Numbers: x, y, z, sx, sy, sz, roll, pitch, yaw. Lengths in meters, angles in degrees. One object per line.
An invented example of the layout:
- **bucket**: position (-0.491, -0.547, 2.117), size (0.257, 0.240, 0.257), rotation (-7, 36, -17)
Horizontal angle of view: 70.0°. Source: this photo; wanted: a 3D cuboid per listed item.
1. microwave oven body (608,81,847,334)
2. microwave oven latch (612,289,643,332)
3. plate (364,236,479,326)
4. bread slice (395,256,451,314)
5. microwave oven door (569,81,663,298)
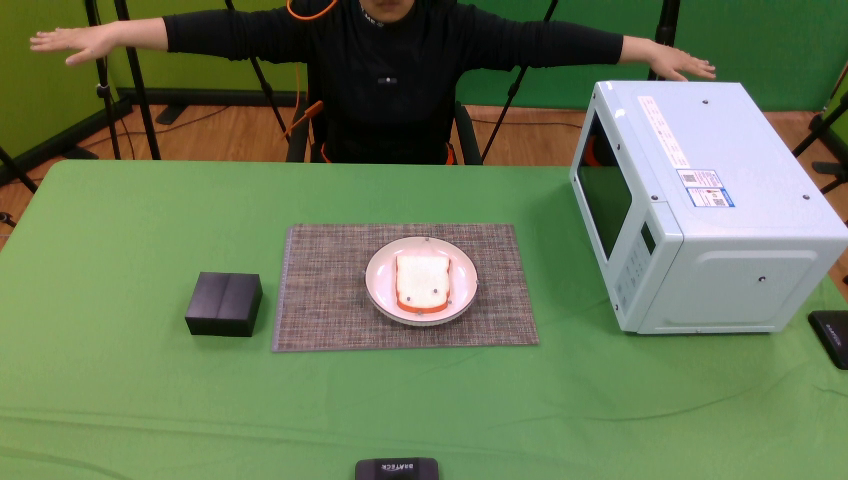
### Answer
- **microwave oven body**: position (0.501, -0.070, 1.132), size (0.326, 0.261, 0.438), rotation (-1, 45, -4)
- **microwave oven latch**: position (0.357, 0.124, 1.068), size (0.030, 0.029, 0.078), rotation (0, 45, -3)
- **plate**: position (-0.004, 0.078, 1.107), size (0.209, 0.038, 0.208), rotation (2, 46, -2)
- **bread slice**: position (-0.001, 0.079, 1.109), size (0.105, 0.019, 0.130), rotation (1, 45, -2)
- **microwave oven door**: position (0.353, -0.104, 1.147), size (0.039, 0.245, 0.353), rotation (0, 46, -4)
